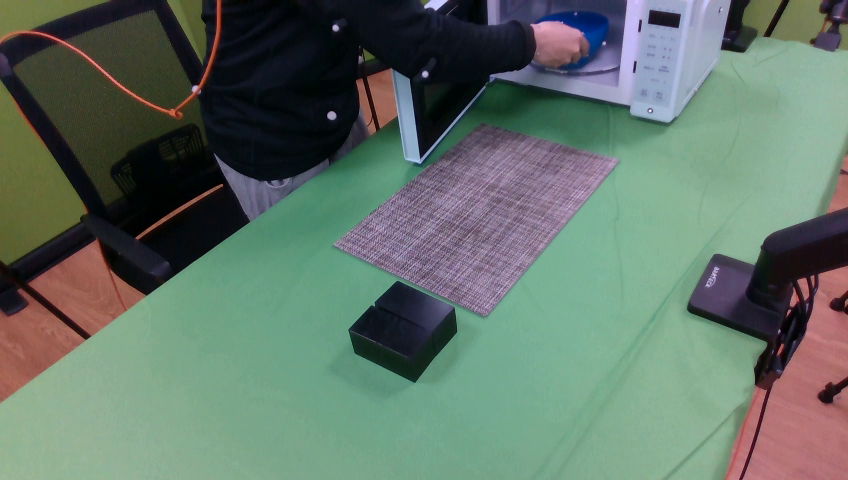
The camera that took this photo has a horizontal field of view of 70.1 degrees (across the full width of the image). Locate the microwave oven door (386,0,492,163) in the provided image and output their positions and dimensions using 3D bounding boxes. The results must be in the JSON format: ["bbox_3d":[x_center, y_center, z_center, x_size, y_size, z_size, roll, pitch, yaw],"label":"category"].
[{"bbox_3d":[0.043,-0.346,1.171,0.039,0.245,0.356,14,45,24],"label":"microwave oven door"}]

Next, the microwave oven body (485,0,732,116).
[{"bbox_3d":[0.377,-0.463,1.267,0.438,0.261,0.327,21,49,30],"label":"microwave oven body"}]

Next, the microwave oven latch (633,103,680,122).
[{"bbox_3d":[0.443,-0.249,1.157,0.078,0.029,0.030,21,49,30],"label":"microwave oven latch"}]
